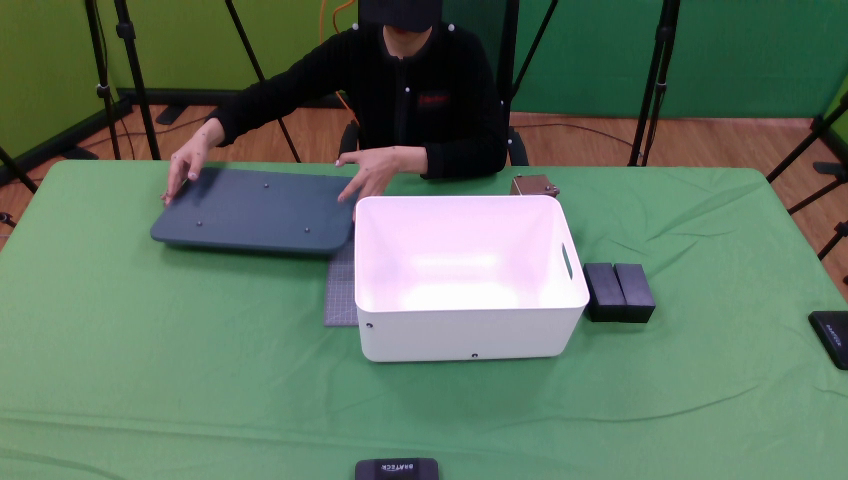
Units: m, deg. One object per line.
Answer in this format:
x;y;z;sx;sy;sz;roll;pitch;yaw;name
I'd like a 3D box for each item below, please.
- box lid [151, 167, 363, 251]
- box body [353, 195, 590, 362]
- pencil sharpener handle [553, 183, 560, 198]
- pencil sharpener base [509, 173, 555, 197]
-0.318;-0.067;1.210;0.371;0.015;0.262;4;36;2;box lid
0.065;0.066;1.040;0.364;0.161;0.252;-1;46;-5;box body
0.267;-0.089;1.224;0.031;0.068;0.035;-6;45;-10;pencil sharpener handle
0.216;-0.075;1.223;0.077;0.107;0.061;-6;46;-10;pencil sharpener base
